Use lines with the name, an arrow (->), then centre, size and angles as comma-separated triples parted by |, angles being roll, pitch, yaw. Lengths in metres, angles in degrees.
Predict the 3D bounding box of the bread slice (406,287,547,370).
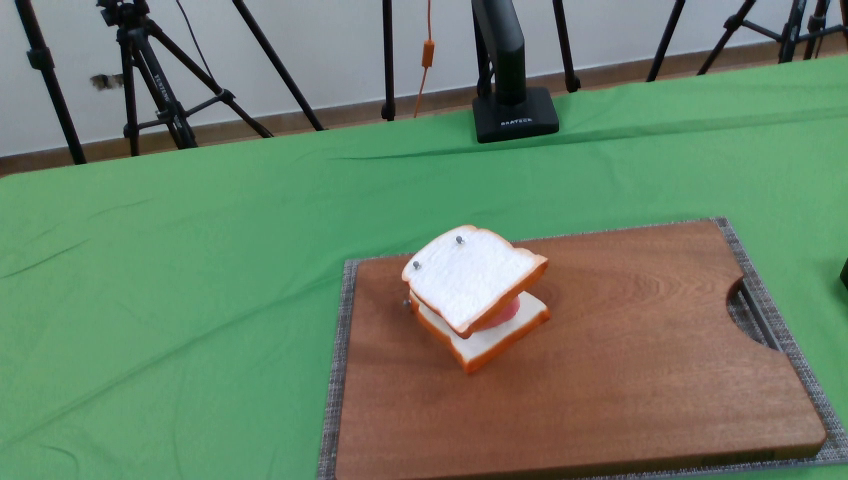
bread slice -> 0.042, 0.063, 0.616 | 0.105, 0.019, 0.130 | -31, 46, -22

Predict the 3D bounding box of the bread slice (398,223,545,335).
bread slice -> 0.035, 0.031, 0.586 | 0.107, 0.018, 0.133 | -40, 36, -17
